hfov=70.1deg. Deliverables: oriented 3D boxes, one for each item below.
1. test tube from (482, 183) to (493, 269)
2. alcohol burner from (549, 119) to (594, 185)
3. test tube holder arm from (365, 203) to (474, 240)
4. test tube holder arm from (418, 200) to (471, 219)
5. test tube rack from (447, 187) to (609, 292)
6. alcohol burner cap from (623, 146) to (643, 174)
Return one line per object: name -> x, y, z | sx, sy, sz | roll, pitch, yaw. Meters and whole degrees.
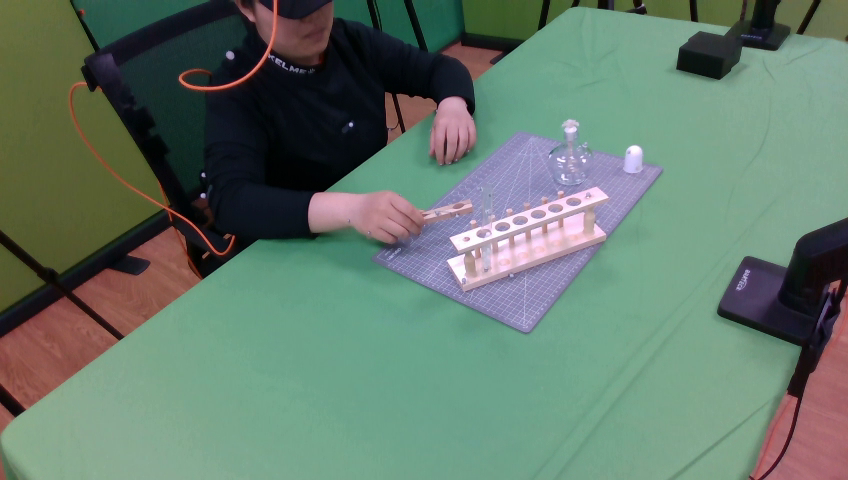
test tube -> 0.089, -0.016, 0.854 | 0.017, 0.151, 0.017 | -2, 39, 2
alcohol burner -> 0.254, -0.155, 1.043 | 0.078, 0.120, 0.077 | -7, 40, 6
test tube holder arm -> -0.008, -0.030, 0.967 | 0.178, 0.015, 0.013 | -16, 49, 5
test tube holder arm -> 0.034, -0.046, 0.966 | 0.088, 0.015, 0.010 | -16, 49, 6
test tube rack -> 0.155, -0.011, 0.913 | 0.243, 0.085, 0.066 | -19, 41, -11
alcohol burner cap -> 0.369, -0.143, 1.061 | 0.034, 0.048, 0.033 | -7, 40, 6
